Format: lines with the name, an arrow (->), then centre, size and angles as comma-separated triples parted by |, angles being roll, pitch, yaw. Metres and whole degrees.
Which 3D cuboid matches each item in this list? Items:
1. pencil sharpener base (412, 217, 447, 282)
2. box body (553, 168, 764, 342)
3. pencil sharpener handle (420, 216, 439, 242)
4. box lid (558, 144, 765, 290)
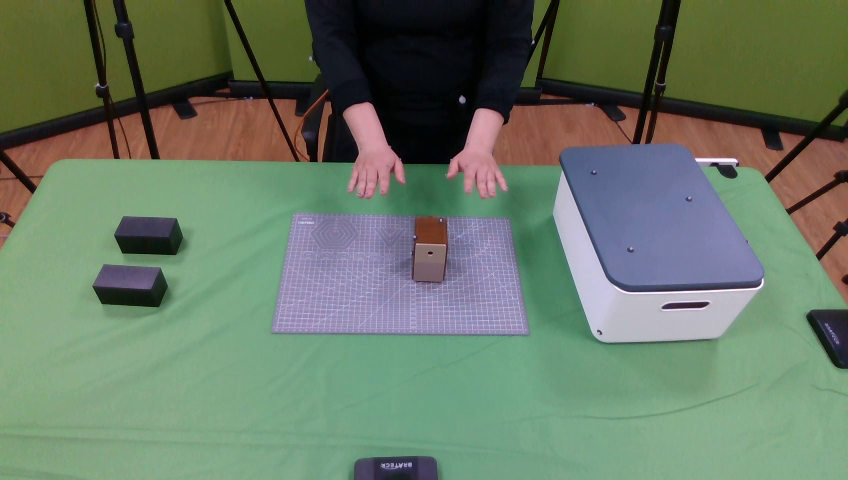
pencil sharpener base -> 0.009, 0.017, 1.118 | 0.061, 0.107, 0.076 | 1, 45, -2
box body -> 0.403, 0.006, 1.125 | 0.254, 0.161, 0.361 | -2, 46, -5
pencil sharpener handle -> 0.007, -0.028, 1.145 | 0.036, 0.068, 0.030 | 7, 44, -7
box lid -> 0.404, -0.054, 1.073 | 0.263, 0.015, 0.369 | -2, 45, -5
